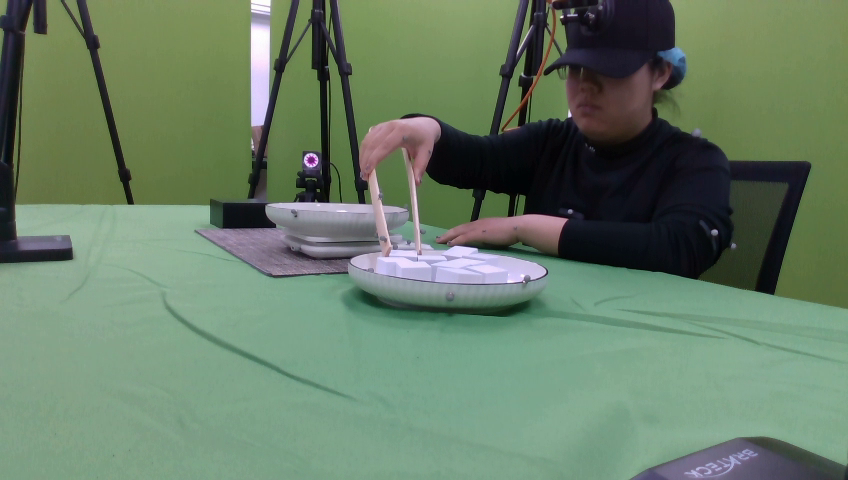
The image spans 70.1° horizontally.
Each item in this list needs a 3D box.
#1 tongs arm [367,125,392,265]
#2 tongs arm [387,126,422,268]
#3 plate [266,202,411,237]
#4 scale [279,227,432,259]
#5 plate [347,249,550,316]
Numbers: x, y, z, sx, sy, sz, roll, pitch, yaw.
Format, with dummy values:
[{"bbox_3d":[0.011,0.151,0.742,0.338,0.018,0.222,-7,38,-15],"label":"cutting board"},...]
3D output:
[{"bbox_3d":[-0.050,-0.079,0.823,0.051,0.026,0.383,4,30,-13],"label":"tongs arm"},{"bbox_3d":[-0.027,-0.076,0.827,0.028,0.028,0.386,2,30,-8],"label":"tongs arm"},{"bbox_3d":[-0.123,-0.030,0.879,0.208,0.039,0.207,2,6,0],"label":"plate"},{"bbox_3d":[-0.100,0.001,0.899,0.202,0.031,0.148,-1,9,-31],"label":"scale"},{"bbox_3d":[0.024,0.042,0.627,0.209,0.038,0.209,2,7,0],"label":"plate"}]
